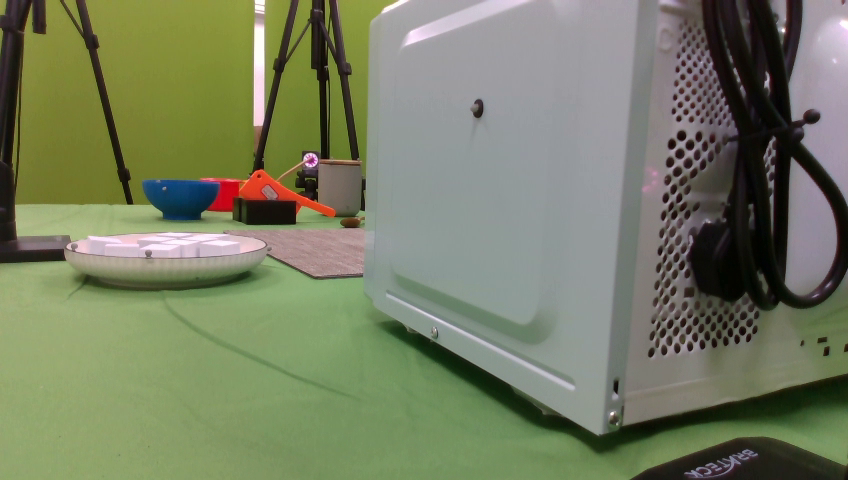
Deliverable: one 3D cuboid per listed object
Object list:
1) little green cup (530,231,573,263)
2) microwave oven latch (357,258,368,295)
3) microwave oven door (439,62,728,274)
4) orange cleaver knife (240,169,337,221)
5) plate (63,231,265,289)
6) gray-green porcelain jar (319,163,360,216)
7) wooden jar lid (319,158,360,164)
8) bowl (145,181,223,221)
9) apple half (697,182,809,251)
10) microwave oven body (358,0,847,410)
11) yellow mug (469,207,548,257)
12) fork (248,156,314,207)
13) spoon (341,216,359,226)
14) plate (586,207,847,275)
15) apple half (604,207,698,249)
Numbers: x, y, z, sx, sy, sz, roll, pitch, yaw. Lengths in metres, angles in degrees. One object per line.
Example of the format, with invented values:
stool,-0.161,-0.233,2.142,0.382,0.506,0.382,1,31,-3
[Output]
little green cup,0.184,0.010,0.879,0.061,0.038,0.061,2,9,0
microwave oven latch,-0.019,0.031,0.529,0.079,0.029,0.030,-1,7,-27
microwave oven door,0.186,-0.096,0.780,0.354,0.243,0.039,6,9,29
orange cleaver knife,-0.287,-0.082,1.298,0.212,0.077,0.012,25,-2,-31
plate,-0.288,0.021,0.687,0.208,0.039,0.207,2,8,0
gray-green porcelain jar,-0.204,-0.126,1.490,0.106,0.126,0.106,2,8,0
wooden jar lid,-0.203,-0.189,1.482,0.108,0.020,0.108,2,10,0
bowl,-0.499,-0.081,1.261,0.151,0.077,0.151,2,8,0
apple half,0.280,-0.021,0.512,0.075,0.053,0.080,11,-9,-18
microwave oven body,0.210,-0.051,0.471,0.444,0.260,0.324,-1,7,-28
yellow mug,0.137,-0.013,0.951,0.131,0.064,0.099,1,9,-21
fork,-0.360,-0.147,1.523,0.207,0.019,0.028,-43,16,-6
spoon,-0.132,-0.048,1.305,0.041,0.021,0.194,-16,3,14
plate,0.245,-0.002,0.516,0.209,0.038,0.209,2,7,0
apple half,0.207,-0.013,0.543,0.081,0.033,0.081,4,10,0
